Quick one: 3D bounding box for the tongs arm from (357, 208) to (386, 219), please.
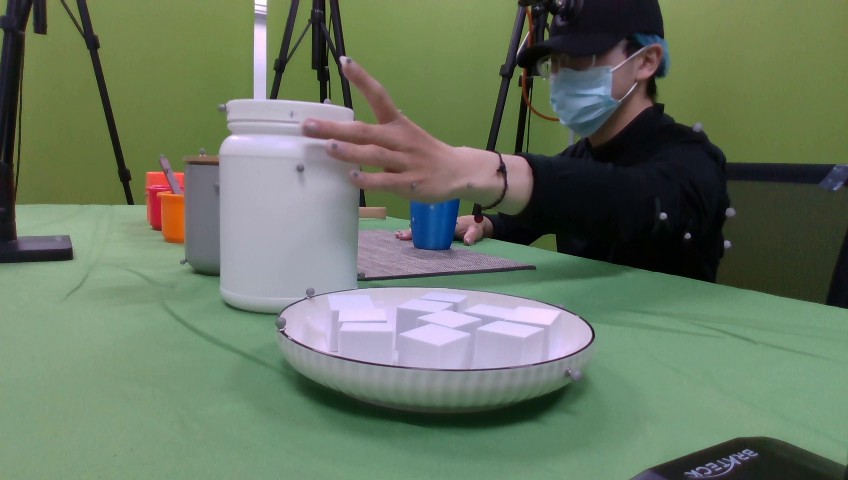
[{"bbox_3d":[-0.252,-0.062,1.360,0.387,0.026,0.050,-1,4,-31],"label":"tongs arm"}]

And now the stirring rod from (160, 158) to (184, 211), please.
[{"bbox_3d":[-0.390,-0.070,0.972,0.014,0.006,0.175,-3,51,-48],"label":"stirring rod"}]

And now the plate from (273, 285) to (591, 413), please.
[{"bbox_3d":[0.005,0.069,0.407,0.208,0.039,0.207,2,7,0],"label":"plate"}]

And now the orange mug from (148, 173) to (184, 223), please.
[{"bbox_3d":[-0.490,-0.087,1.222,0.127,0.101,0.083,-9,13,-38],"label":"orange mug"}]

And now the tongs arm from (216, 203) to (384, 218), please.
[{"bbox_3d":[-0.288,-0.070,1.435,0.389,0.027,0.028,1,0,-18],"label":"tongs arm"}]

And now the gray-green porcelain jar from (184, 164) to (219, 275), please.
[{"bbox_3d":[-0.230,-0.025,0.722,0.106,0.126,0.106,3,7,0],"label":"gray-green porcelain jar"}]

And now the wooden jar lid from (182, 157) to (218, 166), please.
[{"bbox_3d":[-0.227,-0.086,0.714,0.108,0.020,0.108,0,6,0],"label":"wooden jar lid"}]

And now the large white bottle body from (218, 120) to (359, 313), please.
[{"bbox_3d":[-0.128,-0.033,0.578,0.131,0.184,0.130,2,7,0],"label":"large white bottle body"}]

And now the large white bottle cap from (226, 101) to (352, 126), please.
[{"bbox_3d":[-0.125,-0.116,0.566,0.115,0.018,0.115,2,8,0],"label":"large white bottle cap"}]

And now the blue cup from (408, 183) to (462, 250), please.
[{"bbox_3d":[0.015,-0.038,0.969,0.093,0.100,0.092,3,9,0],"label":"blue cup"}]

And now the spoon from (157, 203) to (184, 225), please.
[{"bbox_3d":[-0.425,-0.094,1.117,0.041,0.022,0.194,5,51,29],"label":"spoon"}]
